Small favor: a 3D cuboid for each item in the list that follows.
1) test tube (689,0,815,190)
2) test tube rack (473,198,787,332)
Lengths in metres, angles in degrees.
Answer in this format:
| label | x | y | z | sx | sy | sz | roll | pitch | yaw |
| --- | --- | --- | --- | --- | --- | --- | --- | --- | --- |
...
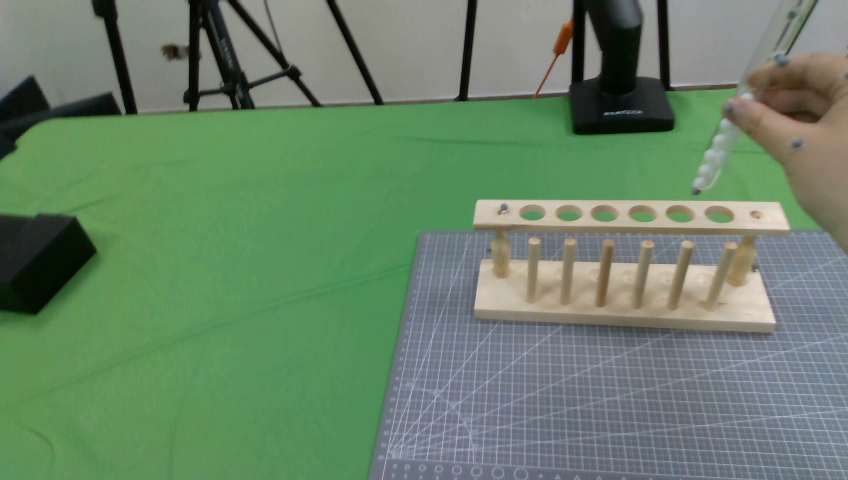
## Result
| label | x | y | z | sx | sy | sz | roll | pitch | yaw |
| --- | --- | --- | --- | --- | --- | --- | --- | --- | --- |
| test tube | 0.196 | -0.086 | 0.369 | 0.017 | 0.151 | 0.017 | 1 | 50 | -1 |
| test tube rack | 0.163 | 0.019 | 0.510 | 0.242 | 0.086 | 0.066 | 2 | 42 | 11 |
